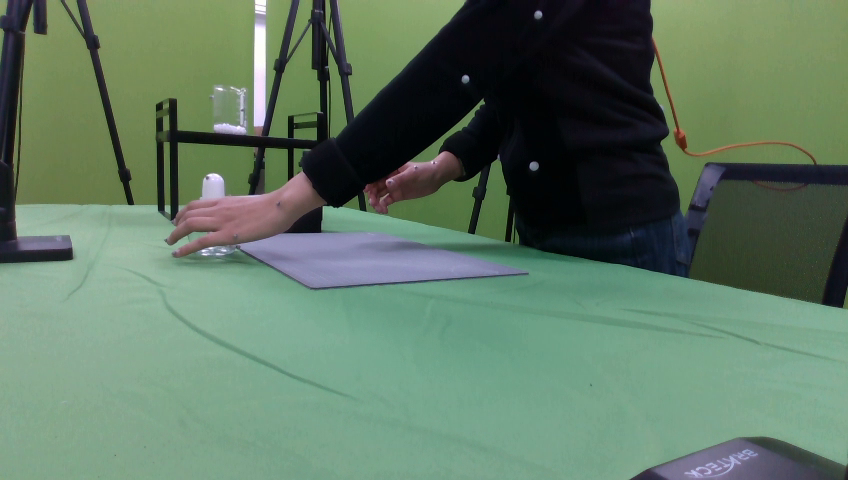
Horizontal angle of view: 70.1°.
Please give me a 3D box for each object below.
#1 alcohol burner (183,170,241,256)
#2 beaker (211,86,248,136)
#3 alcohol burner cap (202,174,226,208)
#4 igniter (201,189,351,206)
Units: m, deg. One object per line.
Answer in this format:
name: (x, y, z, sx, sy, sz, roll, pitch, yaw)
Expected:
alcohol burner: (-0.297, -0.038, 0.851, 0.078, 0.119, 0.078, 1, 5, 0)
beaker: (-0.414, -0.274, 1.297, 0.074, 0.100, 0.083, -5, 11, -44)
alcohol burner cap: (-0.294, -0.068, 0.846, 0.034, 0.048, 0.034, 0, 7, 0)
igniter: (-0.272, -0.078, 1.139, 0.278, 0.025, 0.057, -5, 10, -28)
